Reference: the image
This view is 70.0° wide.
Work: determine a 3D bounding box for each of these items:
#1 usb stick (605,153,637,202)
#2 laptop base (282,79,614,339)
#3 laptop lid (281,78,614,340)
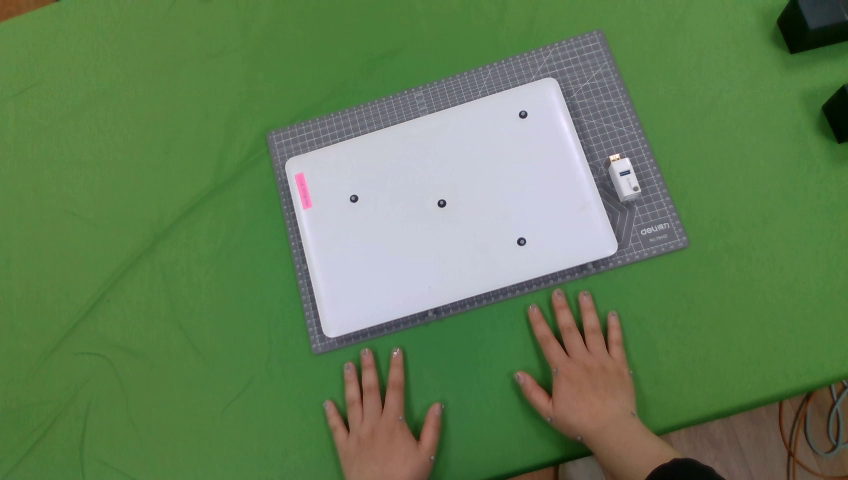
[{"bbox_3d":[0.226,-0.076,0.703,0.021,0.027,0.058,-18,70,7],"label":"usb stick"},{"bbox_3d":[0.019,-0.041,0.727,0.354,0.023,0.234,-17,76,2],"label":"laptop base"},{"bbox_3d":[0.019,-0.042,0.715,0.357,0.013,0.240,-16,76,3],"label":"laptop lid"}]
